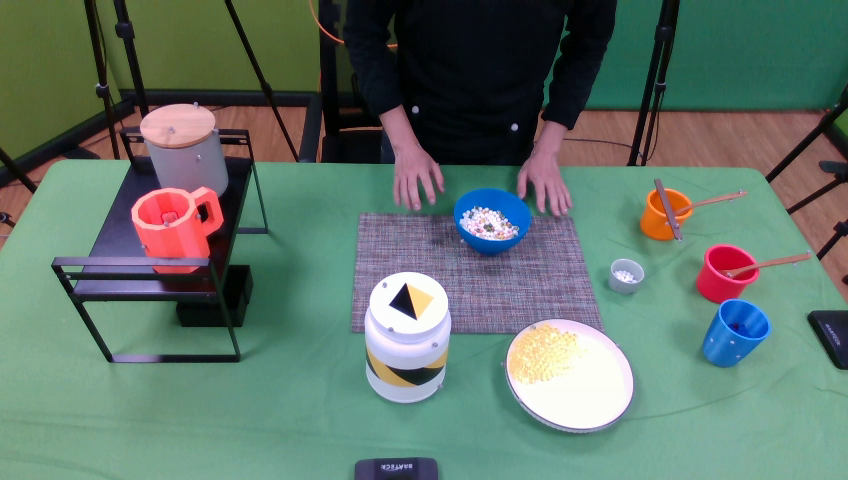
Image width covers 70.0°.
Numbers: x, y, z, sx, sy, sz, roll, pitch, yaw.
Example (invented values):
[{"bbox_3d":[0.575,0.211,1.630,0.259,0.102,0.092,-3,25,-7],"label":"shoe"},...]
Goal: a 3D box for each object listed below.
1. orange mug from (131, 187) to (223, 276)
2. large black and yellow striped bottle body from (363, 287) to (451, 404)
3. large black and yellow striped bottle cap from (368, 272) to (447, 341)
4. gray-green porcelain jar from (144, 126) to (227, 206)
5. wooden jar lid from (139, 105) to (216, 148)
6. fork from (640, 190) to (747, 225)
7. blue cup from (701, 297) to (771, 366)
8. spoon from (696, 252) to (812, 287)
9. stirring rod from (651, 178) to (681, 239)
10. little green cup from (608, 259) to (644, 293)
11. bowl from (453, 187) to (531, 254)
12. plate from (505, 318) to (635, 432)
[{"bbox_3d":[-0.354,-0.022,0.888,0.083,0.101,0.126,31,55,24],"label":"orange mug"},{"bbox_3d":[-0.027,0.153,0.935,0.131,0.185,0.130,2,46,-2],"label":"large black and yellow striped bottle body"},{"bbox_3d":[-0.023,0.093,0.875,0.115,0.019,0.114,3,46,-3],"label":"large black and yellow striped bottle cap"},{"bbox_3d":[-0.375,-0.125,0.967,0.106,0.127,0.105,2,46,-2],"label":"gray-green porcelain jar"},{"bbox_3d":[-0.372,-0.169,0.920,0.108,0.021,0.107,4,44,-4],"label":"wooden jar lid"},{"bbox_3d":[0.533,-0.065,1.211,0.207,0.019,0.028,-22,28,39],"label":"fork"},{"bbox_3d":[0.519,0.162,1.025,0.093,0.101,0.092,3,45,-3],"label":"blue cup"},{"bbox_3d":[0.600,0.051,1.110,0.193,0.022,0.041,-22,33,38],"label":"spoon"},{"bbox_3d":[0.479,-0.065,1.204,0.014,0.006,0.175,3,46,-4],"label":"stirring rod"},{"bbox_3d":[0.379,0.070,1.147,0.061,0.039,0.061,3,45,-2],"label":"little green cup"},{"bbox_3d":[0.128,-0.025,1.187,0.151,0.077,0.150,2,46,-2],"label":"bowl"},{"bbox_3d":[0.235,0.221,0.991,0.209,0.038,0.208,2,46,-2],"label":"plate"}]
